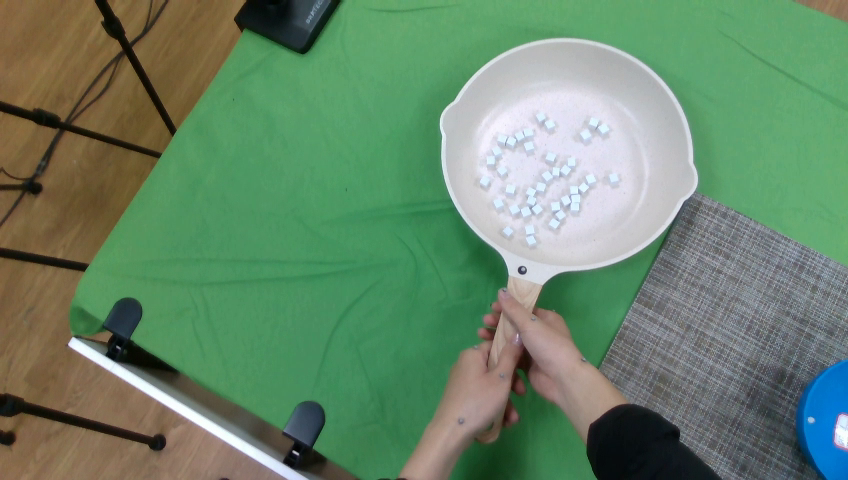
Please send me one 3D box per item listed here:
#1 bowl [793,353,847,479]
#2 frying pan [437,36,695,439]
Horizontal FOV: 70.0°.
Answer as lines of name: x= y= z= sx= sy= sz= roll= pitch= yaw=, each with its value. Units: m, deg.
bowl: x=0.457 y=0.195 z=0.639 sx=0.151 sy=0.077 sz=0.150 roll=-1 pitch=76 yaw=4
frying pan: x=0.131 y=-0.012 z=0.705 sx=0.306 sy=0.103 sz=0.485 roll=17 pitch=70 yaw=9
